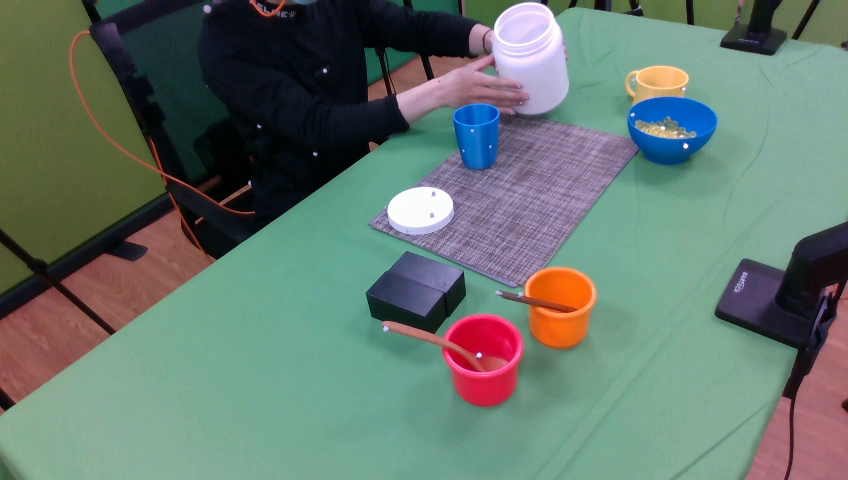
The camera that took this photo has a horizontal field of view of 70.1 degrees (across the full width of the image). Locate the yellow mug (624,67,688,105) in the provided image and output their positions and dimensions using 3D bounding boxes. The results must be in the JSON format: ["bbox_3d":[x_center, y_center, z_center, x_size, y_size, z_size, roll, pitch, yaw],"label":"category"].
[{"bbox_3d":[0.464,-0.306,1.230,0.100,0.064,0.129,-34,46,-27],"label":"yellow mug"}]

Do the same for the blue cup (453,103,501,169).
[{"bbox_3d":[0.099,-0.188,1.114,0.092,0.100,0.092,-4,39,3],"label":"blue cup"}]

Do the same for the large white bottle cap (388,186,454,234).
[{"bbox_3d":[-0.006,-0.053,1.036,0.115,0.018,0.114,-4,41,4],"label":"large white bottle cap"}]

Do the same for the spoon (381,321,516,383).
[{"bbox_3d":[0.033,0.131,0.725,0.195,0.021,0.041,29,29,-26],"label":"spoon"}]

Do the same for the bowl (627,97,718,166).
[{"bbox_3d":[0.439,-0.187,1.087,0.151,0.077,0.150,-4,41,4],"label":"bowl"}]

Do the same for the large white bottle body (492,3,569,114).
[{"bbox_3d":[0.205,-0.349,1.170,0.130,0.186,0.130,-8,61,15],"label":"large white bottle body"}]

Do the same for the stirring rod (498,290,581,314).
[{"bbox_3d":[0.151,0.081,0.772,0.178,0.006,0.014,15,19,-44],"label":"stirring rod"}]
